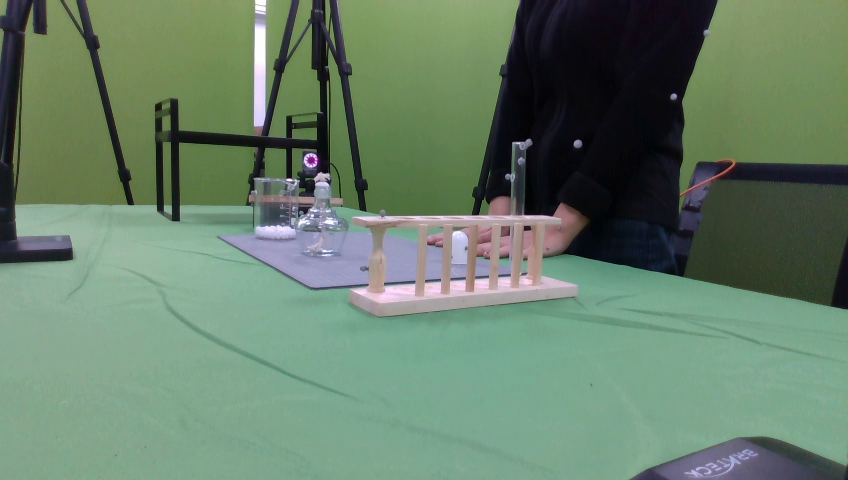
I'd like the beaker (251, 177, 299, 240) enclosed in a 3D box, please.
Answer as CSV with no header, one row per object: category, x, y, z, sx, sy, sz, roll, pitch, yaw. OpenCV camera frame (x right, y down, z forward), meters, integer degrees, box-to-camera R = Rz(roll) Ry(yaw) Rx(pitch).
beaker,-0.245,-0.052,1.004,0.083,0.100,0.074,9,10,36

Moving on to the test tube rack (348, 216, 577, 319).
test tube rack,0.048,0.021,0.619,0.244,0.085,0.066,-2,9,-31

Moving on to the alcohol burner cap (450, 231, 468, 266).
alcohol burner cap,0.046,0.011,0.838,0.034,0.048,0.034,2,6,0

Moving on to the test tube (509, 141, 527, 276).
test tube,0.102,-0.032,0.662,0.017,0.150,0.017,0,10,0

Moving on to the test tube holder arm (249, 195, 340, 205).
test tube holder arm,-0.247,-0.077,1.168,0.179,0.015,0.013,0,9,-31

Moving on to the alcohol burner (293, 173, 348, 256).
alcohol burner,-0.147,-0.036,0.859,0.078,0.119,0.078,4,9,0

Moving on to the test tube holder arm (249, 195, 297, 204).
test tube holder arm,-0.284,-0.076,1.141,0.088,0.015,0.010,0,9,-29
